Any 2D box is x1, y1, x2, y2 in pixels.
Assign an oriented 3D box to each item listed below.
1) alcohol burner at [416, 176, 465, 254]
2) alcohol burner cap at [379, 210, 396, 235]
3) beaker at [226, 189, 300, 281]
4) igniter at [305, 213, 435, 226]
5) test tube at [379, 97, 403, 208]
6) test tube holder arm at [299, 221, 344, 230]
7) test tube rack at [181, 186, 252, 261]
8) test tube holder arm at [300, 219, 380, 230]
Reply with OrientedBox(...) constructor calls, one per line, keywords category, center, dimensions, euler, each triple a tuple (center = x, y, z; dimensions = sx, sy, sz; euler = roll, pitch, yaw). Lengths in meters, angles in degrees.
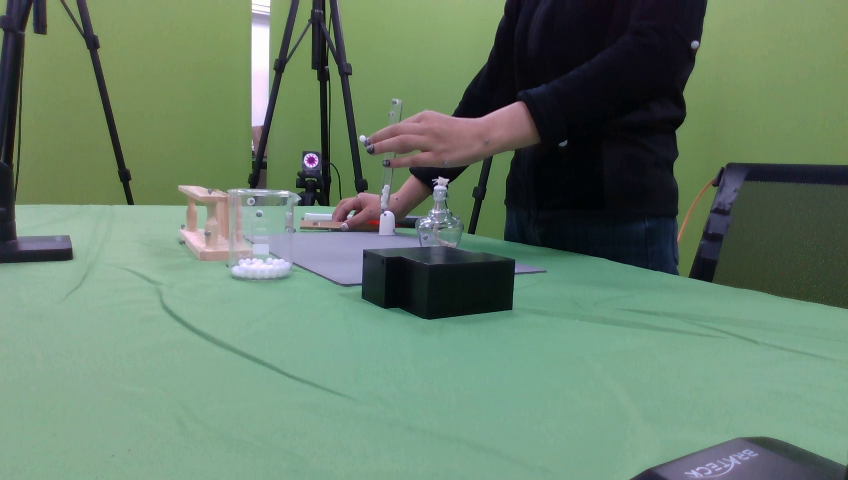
OrientedBox(category="alcohol burner", center=(0.026, -0.040, 0.935), dimensions=(0.078, 0.119, 0.078), euler=(1, 6, 0))
OrientedBox(category="alcohol burner cap", center=(-0.067, -0.033, 1.130), dimensions=(0.034, 0.048, 0.034), euler=(2, 8, 0))
OrientedBox(category="beaker", center=(-0.184, -0.007, 0.694), dimensions=(0.084, 0.100, 0.073), euler=(-1, 8, -28))
OrientedBox(category="igniter", center=(-0.114, -0.046, 1.296), dimensions=(0.277, 0.025, 0.057), euler=(1, -2, -11))
OrientedBox(category="test tube", center=(-0.045, -0.118, 0.821), dimensions=(0.017, 0.150, 0.017), euler=(8, 9, -1))
OrientedBox(category="test tube holder arm", center=(-0.196, -0.028, 1.161), dimensions=(0.088, 0.015, 0.010), euler=(1, -16, -24))
OrientedBox(category="test tube rack", center=(-0.312, -0.031, 0.893), dimensions=(0.067, 0.085, 0.241), euler=(-1, 8, -27))
OrientedBox(category="test tube holder arm", center=(-0.153, -0.029, 1.175), dimensions=(0.179, 0.015, 0.013), euler=(2, -16, -25))
